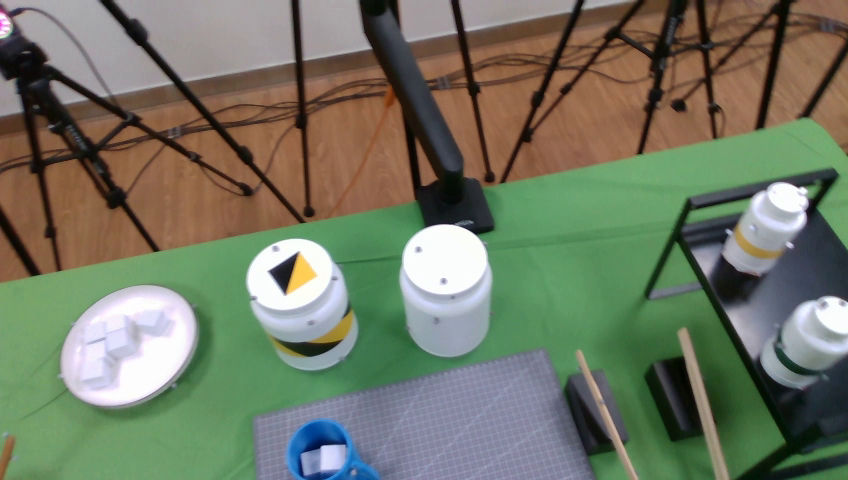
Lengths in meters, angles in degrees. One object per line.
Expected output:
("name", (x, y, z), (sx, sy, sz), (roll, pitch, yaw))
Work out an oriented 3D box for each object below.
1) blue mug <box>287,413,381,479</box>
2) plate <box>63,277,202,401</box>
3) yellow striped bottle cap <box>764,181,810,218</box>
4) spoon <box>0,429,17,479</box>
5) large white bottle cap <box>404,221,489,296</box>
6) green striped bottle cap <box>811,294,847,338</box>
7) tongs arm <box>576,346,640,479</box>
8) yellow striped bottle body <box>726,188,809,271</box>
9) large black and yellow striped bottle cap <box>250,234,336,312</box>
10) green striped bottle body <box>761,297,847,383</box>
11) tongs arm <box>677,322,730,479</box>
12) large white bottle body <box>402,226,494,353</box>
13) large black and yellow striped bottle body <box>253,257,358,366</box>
("blue mug", (-0.112, 0.288, 0.795), (0.116, 0.107, 0.082), (13, 57, 12))
("plate", (-0.449, 0.155, 0.948), (0.207, 0.039, 0.205), (-1, 56, 2))
("yellow striped bottle cap", (0.425, -0.048, 0.707), (0.044, 0.019, 0.044), (0, 54, 0))
("spoon", (-0.546, 0.326, 0.771), (0.041, 0.022, 0.194), (27, 105, 23))
("large white bottle cap", (0.031, 0.023, 0.820), (0.115, 0.018, 0.113), (-1, 55, 2))
("green striped bottle cap", (0.425, 0.078, 0.623), (0.044, 0.020, 0.044), (-2, 57, 3))
("tongs arm", (0.290, 0.309, 0.763), (0.051, 0.027, 0.381), (-15, 68, -10))
("yellow striped bottle body", (0.427, -0.018, 0.751), (0.063, 0.121, 0.062), (-1, 55, 2))
("large black and yellow striped bottle cap", (-0.177, 0.042, 0.819), (0.115, 0.019, 0.114), (0, 56, 1))
("green striped bottle body", (0.426, 0.107, 0.666), (0.063, 0.120, 0.062), (-1, 55, 3))
("tongs arm", (0.370, 0.294, 0.772), (0.028, 0.028, 0.384), (-1, 67, -8))
("large white bottle body", (0.035, 0.072, 0.890), (0.130, 0.186, 0.129), (-1, 55, 2))
("large black and yellow striped bottle body", (-0.172, 0.092, 0.887), (0.131, 0.185, 0.129), (-1, 55, 2))
